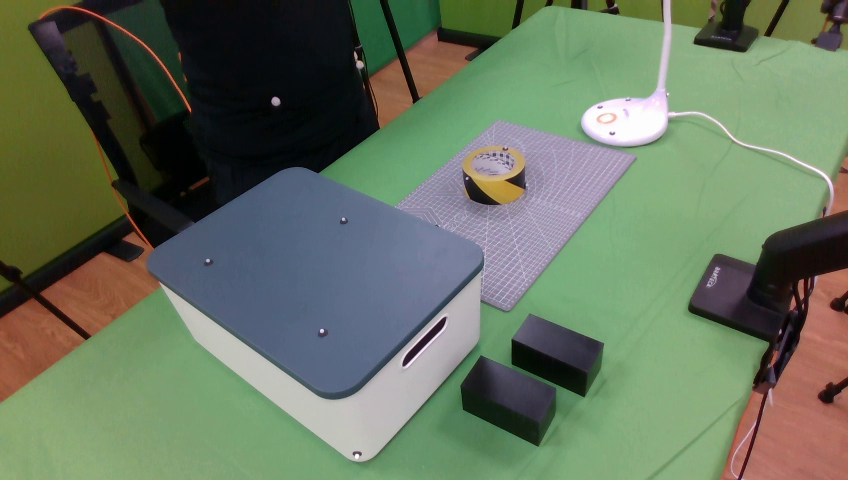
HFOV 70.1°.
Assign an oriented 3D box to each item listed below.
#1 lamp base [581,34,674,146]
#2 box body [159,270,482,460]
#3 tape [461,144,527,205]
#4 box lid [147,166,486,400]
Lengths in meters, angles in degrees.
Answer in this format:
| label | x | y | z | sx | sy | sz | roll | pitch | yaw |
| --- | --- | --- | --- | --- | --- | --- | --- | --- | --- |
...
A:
| label | x | y | z | sx | sy | sz | roll | pitch | yaw |
| --- | --- | --- | --- | --- | --- | --- | --- | --- | --- |
| lamp base | 0.392 | -0.291 | 1.129 | 0.180 | 0.181 | 0.159 | -11 | 41 | -8 |
| box body | -0.130 | 0.079 | 0.787 | 0.361 | 0.161 | 0.255 | 25 | 50 | 32 |
| tape | 0.124 | -0.116 | 1.058 | 0.117 | 0.053 | 0.116 | -4 | 42 | 4 |
| box lid | -0.136 | 0.024 | 0.738 | 0.368 | 0.015 | 0.264 | 25 | 50 | 32 |
